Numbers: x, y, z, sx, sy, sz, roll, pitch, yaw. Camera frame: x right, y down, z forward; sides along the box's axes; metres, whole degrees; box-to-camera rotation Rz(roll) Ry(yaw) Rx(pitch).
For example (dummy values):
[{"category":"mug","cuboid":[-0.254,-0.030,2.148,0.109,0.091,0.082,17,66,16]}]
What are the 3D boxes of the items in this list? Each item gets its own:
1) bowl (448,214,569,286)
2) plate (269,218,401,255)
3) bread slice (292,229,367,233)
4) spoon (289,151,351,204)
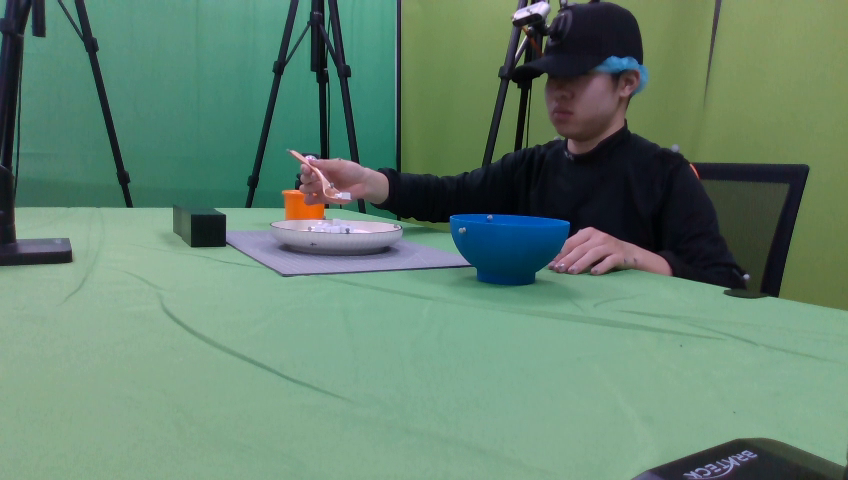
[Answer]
[{"category":"bowl","cuboid":[0.102,0.012,0.758,0.151,0.077,0.151,2,7,0]},{"category":"plate","cuboid":[-0.140,-0.006,0.958,0.209,0.038,0.209,3,7,0]},{"category":"bread slice","cuboid":[-0.143,-0.003,0.953,0.135,0.018,0.106,-1,8,-37]},{"category":"spoon","cuboid":[-0.180,-0.108,1.015,0.042,0.021,0.193,-2,36,-41]}]
